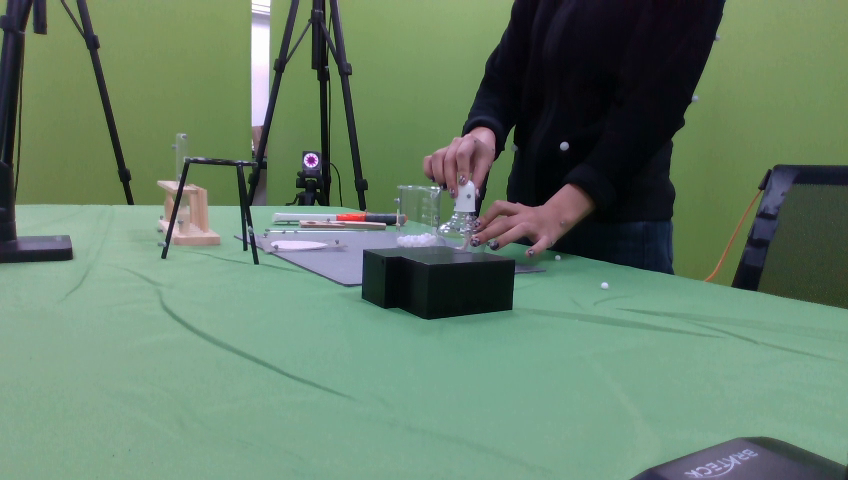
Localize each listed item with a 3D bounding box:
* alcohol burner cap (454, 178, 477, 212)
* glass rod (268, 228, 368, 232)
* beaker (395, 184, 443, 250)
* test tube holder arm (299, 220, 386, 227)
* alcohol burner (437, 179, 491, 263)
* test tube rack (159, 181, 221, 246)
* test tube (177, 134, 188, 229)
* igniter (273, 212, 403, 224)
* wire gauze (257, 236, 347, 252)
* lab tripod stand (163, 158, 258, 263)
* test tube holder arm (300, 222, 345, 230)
[{"bbox_3d":[0.058,-0.064,0.848,0.034,0.048,0.034,0,10,0],"label":"alcohol burner cap"},{"bbox_3d":[-0.193,-0.018,1.128,0.201,0.008,0.008,0,7,-35],"label":"glass rod"},{"bbox_3d":[-0.007,-0.037,0.964,0.074,0.100,0.083,-4,10,-39],"label":"beaker"},{"bbox_3d":[-0.158,-0.032,1.195,0.179,0.015,0.013,-1,44,-29],"label":"test tube holder arm"},{"bbox_3d":[0.057,-0.028,0.854,0.078,0.119,0.078,3,10,0],"label":"alcohol burner"},{"bbox_3d":[-0.395,-0.050,1.010,0.067,0.085,0.241,-2,8,-28],"label":"test tube rack"},{"bbox_3d":[-0.374,-0.089,0.938,0.017,0.150,0.017,1,4,0],"label":"test tube"},{"bbox_3d":[-0.179,-0.048,1.290,0.278,0.025,0.057,-1,-2,-24],"label":"igniter"},{"bbox_3d":[-0.189,0.005,0.931,0.122,0.011,0.124,1,7,-21],"label":"wire gauze"},{"bbox_3d":[-0.265,-0.041,0.802,0.148,0.131,0.148,4,7,0],"label":"lab tripod stand"},{"bbox_3d":[-0.196,-0.027,1.170,0.088,0.015,0.010,-1,43,-29],"label":"test tube holder arm"}]
